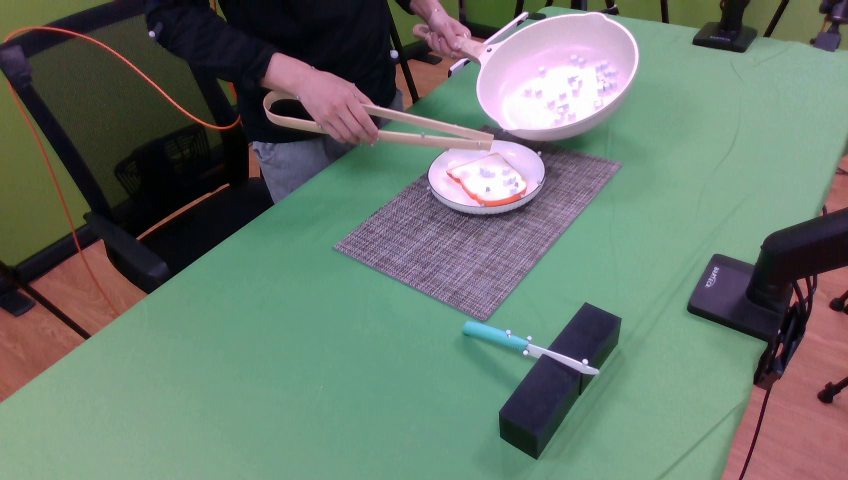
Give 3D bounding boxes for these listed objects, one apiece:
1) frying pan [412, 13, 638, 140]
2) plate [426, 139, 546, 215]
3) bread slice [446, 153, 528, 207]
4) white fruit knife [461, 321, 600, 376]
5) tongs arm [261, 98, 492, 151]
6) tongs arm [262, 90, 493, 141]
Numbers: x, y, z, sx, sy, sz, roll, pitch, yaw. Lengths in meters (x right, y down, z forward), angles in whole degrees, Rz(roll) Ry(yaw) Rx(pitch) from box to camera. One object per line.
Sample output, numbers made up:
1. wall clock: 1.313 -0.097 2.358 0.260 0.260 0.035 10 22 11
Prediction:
1. frying pan: 0.167 -0.343 1.168 0.484 0.103 0.307 31 72 27
2. plate: 0.109 -0.106 1.058 0.207 0.039 0.206 -4 40 4
3. bread slice: 0.118 -0.104 1.057 0.107 0.018 0.133 -24 41 -18
4. white fruit knife: 0.126 0.133 0.752 0.205 0.027 0.016 12 45 42
5. tongs arm: -0.078 -0.192 1.006 0.385 0.026 0.050 5 66 -2
6. tongs arm: -0.076 -0.205 1.013 0.388 0.028 0.028 11 70 0
